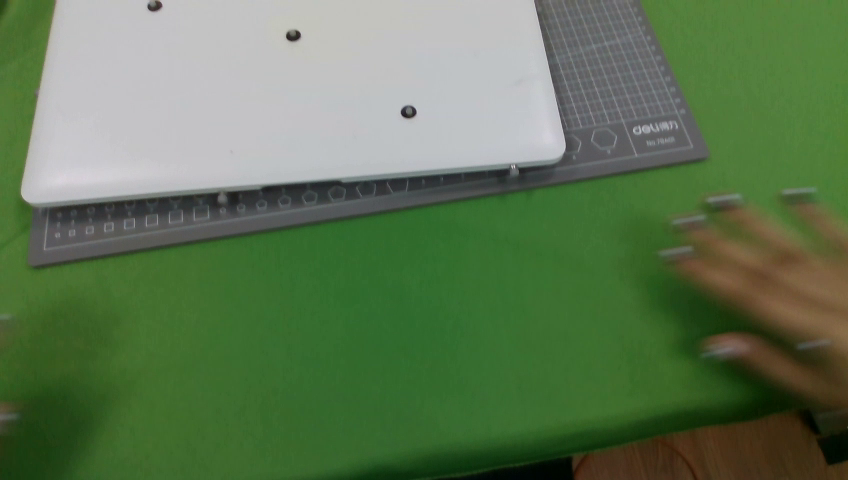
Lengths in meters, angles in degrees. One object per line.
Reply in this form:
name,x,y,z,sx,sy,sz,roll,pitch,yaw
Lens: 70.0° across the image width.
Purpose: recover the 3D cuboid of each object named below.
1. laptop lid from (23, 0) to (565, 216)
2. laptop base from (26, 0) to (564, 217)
laptop lid,-0.091,-0.135,0.436,0.357,0.013,0.239,-4,65,-2
laptop base,-0.092,-0.132,0.448,0.355,0.023,0.233,-5,67,-3
